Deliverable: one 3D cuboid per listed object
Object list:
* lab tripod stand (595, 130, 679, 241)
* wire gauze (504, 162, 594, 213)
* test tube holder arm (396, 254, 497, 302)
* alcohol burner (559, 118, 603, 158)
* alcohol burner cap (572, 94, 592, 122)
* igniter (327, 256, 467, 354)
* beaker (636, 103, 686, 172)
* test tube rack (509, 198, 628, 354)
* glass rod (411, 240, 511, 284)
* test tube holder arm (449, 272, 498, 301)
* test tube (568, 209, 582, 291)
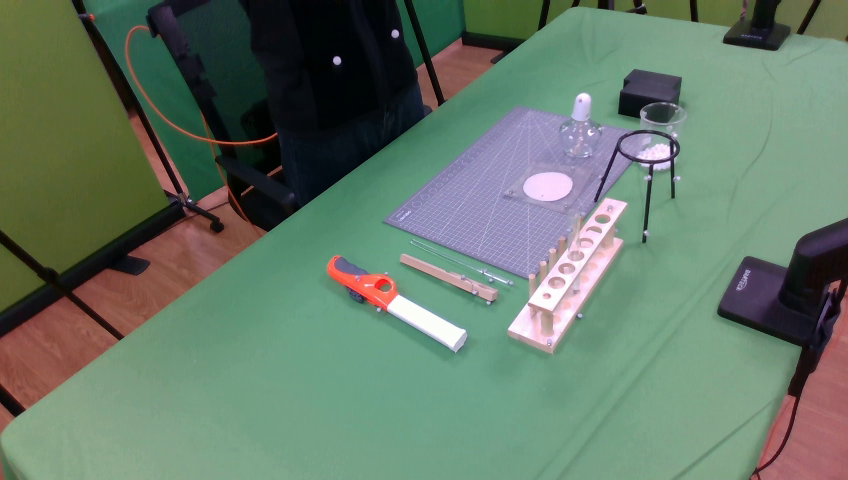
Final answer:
[{"bbox_3d":[0.342,-0.095,0.943,0.148,0.132,0.147,-4,39,4],"label":"lab tripod stand"},{"bbox_3d":[0.220,-0.098,1.065,0.124,0.011,0.122,17,47,32],"label":"wire gauze"},{"bbox_3d":[0.030,0.054,0.912,0.177,0.015,0.013,21,11,29],"label":"test tube holder arm"},{"bbox_3d":[0.287,-0.212,1.104,0.078,0.119,0.077,-4,40,4],"label":"alcohol burner"},{"bbox_3d":[0.284,-0.238,1.079,0.034,0.048,0.033,-1,48,2],"label":"alcohol burner cap"},{"bbox_3d":[-0.051,0.088,0.886,0.274,0.025,0.057,27,62,35],"label":"igniter"},{"bbox_3d":[0.413,-0.177,1.055,0.084,0.101,0.073,-28,44,-21],"label":"beaker"},{"bbox_3d":[0.206,0.039,0.850,0.066,0.085,0.243,20,48,31],"label":"test tube rack"},{"bbox_3d":[0.053,0.033,0.946,0.198,0.008,0.008,22,50,36],"label":"glass rod"},{"bbox_3d":[0.070,0.068,0.894,0.087,0.015,0.010,22,11,31],"label":"test tube holder arm"},{"bbox_3d":[0.200,0.017,0.799,0.017,0.151,0.017,-8,45,8],"label":"test tube"}]
